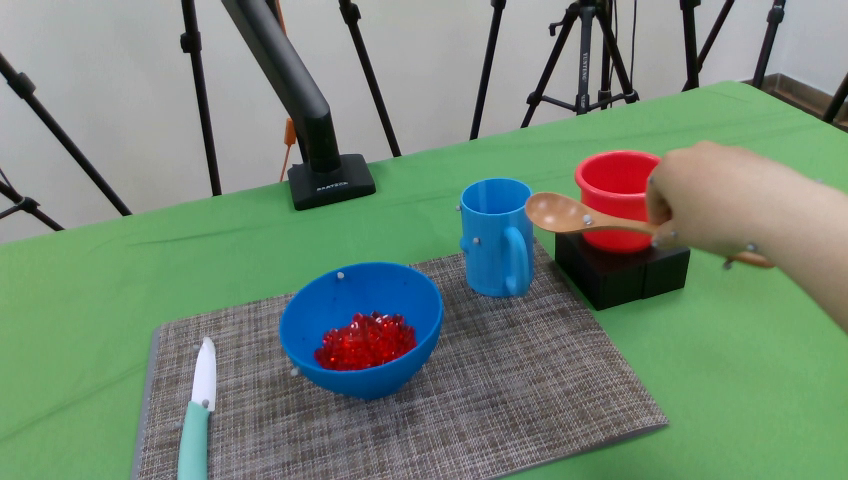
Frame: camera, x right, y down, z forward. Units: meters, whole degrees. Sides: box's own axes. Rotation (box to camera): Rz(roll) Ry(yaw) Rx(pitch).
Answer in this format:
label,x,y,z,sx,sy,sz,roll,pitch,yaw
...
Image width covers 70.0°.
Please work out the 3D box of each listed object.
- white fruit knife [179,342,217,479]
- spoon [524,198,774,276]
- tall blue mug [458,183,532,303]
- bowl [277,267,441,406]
label,x,y,z,sx,sy,sz,roll,pitch,yaw
white fruit knife,-0.209,0.164,0.568,0.027,0.016,0.205,13,26,-23
spoon,0.166,-0.002,0.472,0.192,0.022,0.041,16,53,37
tall blue mug,0.089,0.009,0.650,0.078,0.109,0.106,-31,41,-31
bowl,-0.054,0.101,0.571,0.151,0.077,0.150,-5,35,4
